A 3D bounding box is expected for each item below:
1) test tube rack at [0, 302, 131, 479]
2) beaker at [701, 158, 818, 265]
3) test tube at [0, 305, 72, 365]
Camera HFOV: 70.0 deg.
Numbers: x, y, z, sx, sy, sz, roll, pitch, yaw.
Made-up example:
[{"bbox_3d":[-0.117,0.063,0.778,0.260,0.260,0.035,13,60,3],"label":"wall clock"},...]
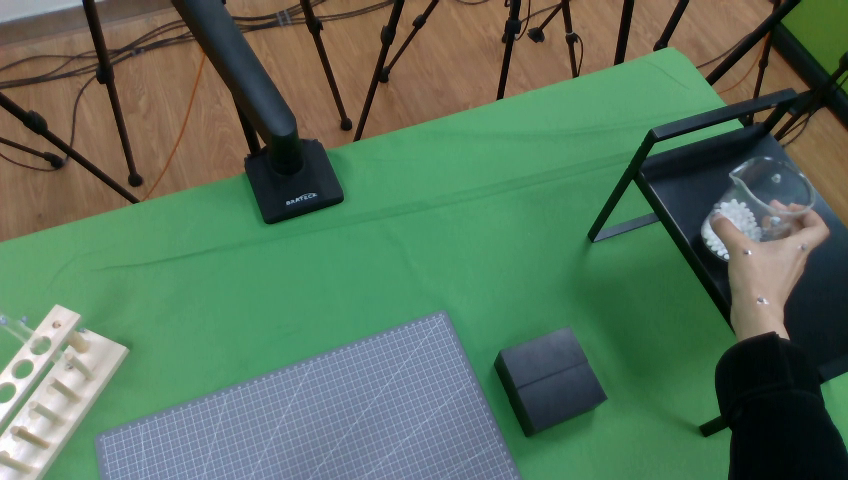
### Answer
[{"bbox_3d":[-0.443,0.198,0.675,0.066,0.086,0.241,22,62,8],"label":"test tube rack"},{"bbox_3d":[0.345,-0.027,0.640,0.084,0.101,0.073,18,55,7],"label":"beaker"},{"bbox_3d":[-0.430,0.108,0.669,0.017,0.151,0.017,0,59,0],"label":"test tube"}]
